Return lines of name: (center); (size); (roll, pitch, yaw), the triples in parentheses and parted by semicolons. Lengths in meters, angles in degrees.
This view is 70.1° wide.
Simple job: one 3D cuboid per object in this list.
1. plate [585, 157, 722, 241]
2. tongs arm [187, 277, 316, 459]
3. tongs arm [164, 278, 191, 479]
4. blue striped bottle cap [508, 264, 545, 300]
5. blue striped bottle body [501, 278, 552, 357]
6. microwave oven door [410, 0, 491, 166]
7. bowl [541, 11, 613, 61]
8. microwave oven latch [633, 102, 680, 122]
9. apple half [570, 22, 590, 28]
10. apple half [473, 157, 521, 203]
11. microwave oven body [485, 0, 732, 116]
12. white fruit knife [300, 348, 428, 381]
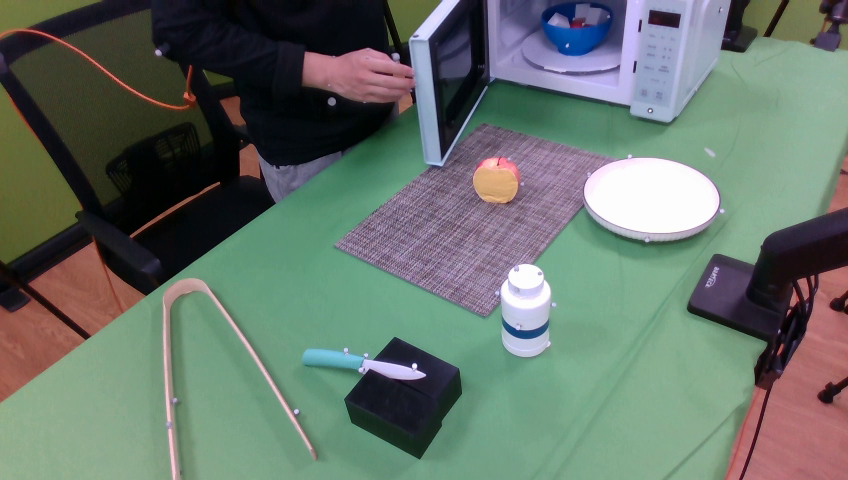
plate: (0.367, -0.063, 0.979); (0.207, 0.039, 0.206); (-4, 40, 4)
tongs arm: (-0.241, 0.154, 0.815); (0.028, 0.028, 0.384); (-31, 46, -21)
tongs arm: (-0.313, 0.182, 0.789); (0.051, 0.026, 0.381); (-19, 41, -14)
blue striped bottle cap: (0.125, 0.051, 0.735); (0.044, 0.021, 0.044); (-6, 38, 5)
blue striped bottle body: (0.130, 0.089, 0.769); (0.063, 0.121, 0.063); (-4, 41, 4)
microwave oven door: (0.063, -0.342, 1.164); (0.039, 0.245, 0.355); (9, 43, 18)
bowl: (0.332, -0.437, 1.307); (0.151, 0.077, 0.151); (-9, 29, 5)
microwave oven latch: (0.444, -0.249, 1.157); (0.078, 0.029, 0.030); (21, 49, 30)
apple half: (0.332, -0.446, 1.300); (0.081, 0.033, 0.081); (-14, 41, 13)
apple half: (0.127, -0.106, 1.030); (0.080, 0.075, 0.053); (4, 36, 19)
microwave oven body: (0.377, -0.462, 1.267); (0.438, 0.261, 0.327); (21, 48, 30)
white fruit knife: (-0.079, 0.154, 0.748); (0.206, 0.027, 0.016); (1, 20, 34)
